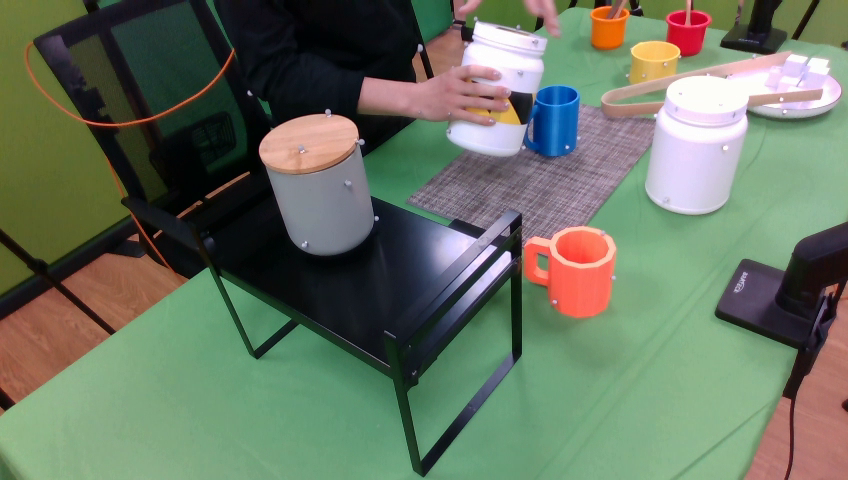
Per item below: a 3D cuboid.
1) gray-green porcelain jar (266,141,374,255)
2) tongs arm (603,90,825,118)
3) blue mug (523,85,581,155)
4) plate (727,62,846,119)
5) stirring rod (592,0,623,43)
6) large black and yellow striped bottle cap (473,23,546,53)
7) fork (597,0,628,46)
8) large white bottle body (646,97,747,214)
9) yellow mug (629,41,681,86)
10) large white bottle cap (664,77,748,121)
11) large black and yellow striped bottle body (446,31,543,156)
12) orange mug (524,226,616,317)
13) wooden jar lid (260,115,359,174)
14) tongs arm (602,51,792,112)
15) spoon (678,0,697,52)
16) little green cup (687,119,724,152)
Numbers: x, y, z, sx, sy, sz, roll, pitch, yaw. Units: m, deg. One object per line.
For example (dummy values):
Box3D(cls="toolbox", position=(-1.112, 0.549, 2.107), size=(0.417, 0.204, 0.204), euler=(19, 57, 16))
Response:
Box3D(cls="gray-green porcelain jar", position=(-0.117, -0.054, 0.703), size=(0.106, 0.127, 0.105), euler=(-4, 40, 4))
Box3D(cls="tongs arm", position=(0.546, -0.262, 1.162), size=(0.386, 0.028, 0.028), euler=(-1, 49, 18))
Box3D(cls="blue mug", position=(0.233, -0.218, 1.127), size=(0.117, 0.106, 0.081), euler=(-23, 43, -16))
Box3D(cls="plate", position=(0.710, -0.292, 1.198), size=(0.207, 0.039, 0.206), euler=(-4, 40, 4))
Box3D(cls="stirring rod", position=(0.460, -0.557, 1.461), size=(0.014, 0.176, 0.006), euler=(35, 11, 22))
Box3D(cls="large black and yellow striped bottle cap", position=(0.134, -0.317, 0.945), size=(0.115, 0.019, 0.114), euler=(11, 25, -5))
Box3D(cls="fork", position=(0.479, -0.558, 1.455), size=(0.028, 0.019, 0.207), euler=(35, 100, 38))
Box3D(cls="large white bottle body", position=(0.431, -0.148, 0.959), size=(0.130, 0.185, 0.130), euler=(-4, 41, 4))
Box3D(cls="yellow mug", position=(0.495, -0.389, 1.321), size=(0.100, 0.064, 0.130), euler=(-14, 40, -7))
Box3D(cls="large white bottle cap", position=(0.421, -0.212, 0.905), size=(0.115, 0.018, 0.114), euler=(-4, 40, 4))
Box3D(cls="large black and yellow striped bottle body", position=(0.116, -0.242, 0.978), size=(0.131, 0.184, 0.130), euler=(11, 24, -4))
Box3D(cls="orange mug", position=(0.201, 0.039, 0.845), size=(0.125, 0.101, 0.083), euler=(18, 47, 21))
Box3D(cls="wooden jar lid", position=(-0.124, -0.101, 0.662), size=(0.108, 0.021, 0.108), euler=(-4, 41, 4))
Box3D(cls="tongs arm", position=(0.552, -0.320, 1.223), size=(0.384, 0.027, 0.050), euler=(-10, 44, 7))
Box3D(cls="spoon", position=(0.614, -0.526, 1.402), size=(0.041, 0.022, 0.193), euler=(3, 86, 11))
Box3D(cls="little green cup", position=(0.514, -0.191, 1.109), size=(0.061, 0.039, 0.061), euler=(-5, 40, 5))
